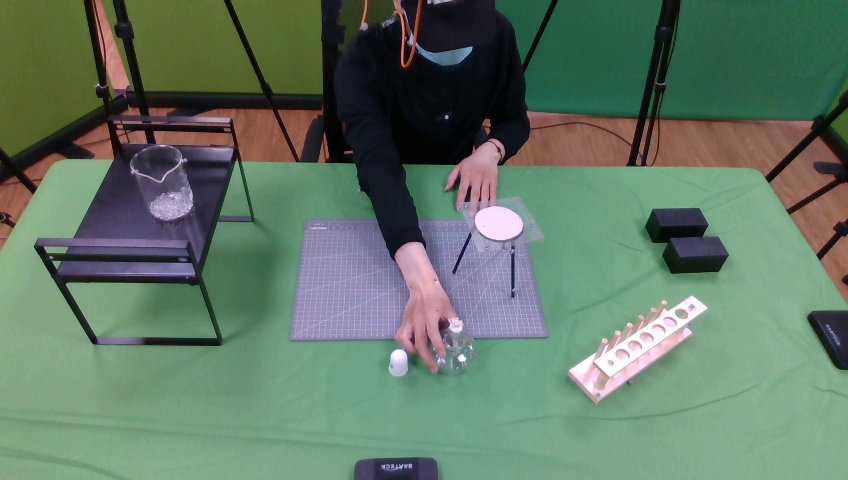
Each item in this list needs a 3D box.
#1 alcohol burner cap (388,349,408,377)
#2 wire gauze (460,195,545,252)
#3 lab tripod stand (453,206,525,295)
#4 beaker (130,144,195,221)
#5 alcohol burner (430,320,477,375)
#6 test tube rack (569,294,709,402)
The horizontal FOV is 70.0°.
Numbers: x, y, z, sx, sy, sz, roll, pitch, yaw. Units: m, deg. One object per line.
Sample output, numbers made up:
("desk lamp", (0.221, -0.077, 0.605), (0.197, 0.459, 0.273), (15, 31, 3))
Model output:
("alcohol burner cap", (-0.042, 0.198, 0.989), (0.034, 0.048, 0.033), (2, 46, -2))
("wire gauze", (0.136, -0.034, 1.061), (0.121, 0.011, 0.124), (-9, 46, -12))
("lab tripod stand", (0.131, 0.011, 1.111), (0.148, 0.132, 0.147), (1, 45, -1))
("beaker", (-0.402, -0.085, 0.944), (0.074, 0.101, 0.083), (-15, 50, -17))
("alcohol burner", (0.049, 0.165, 0.976), (0.078, 0.119, 0.077), (2, 49, -2))
("test tube rack", (0.360, 0.167, 1.014), (0.242, 0.085, 0.066), (-25, 52, -25))
